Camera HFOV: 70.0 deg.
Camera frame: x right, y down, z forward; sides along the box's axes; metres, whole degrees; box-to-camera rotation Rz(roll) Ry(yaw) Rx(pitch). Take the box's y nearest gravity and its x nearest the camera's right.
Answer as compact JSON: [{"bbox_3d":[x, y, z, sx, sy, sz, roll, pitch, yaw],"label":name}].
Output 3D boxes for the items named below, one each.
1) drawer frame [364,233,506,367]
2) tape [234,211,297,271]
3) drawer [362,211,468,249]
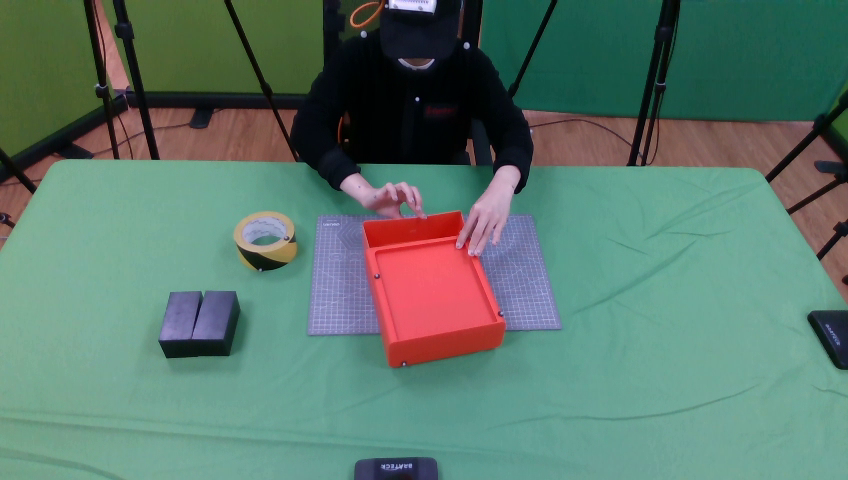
[{"bbox_3d":[0.013,0.097,1.058,0.202,0.083,0.212,-9,48,-13],"label":"drawer frame"},{"bbox_3d":[-0.301,0.002,1.154,0.117,0.053,0.116,2,46,-1],"label":"tape"},{"bbox_3d":[-0.002,0.050,1.105,0.195,0.073,0.210,-6,48,-12],"label":"drawer"}]
